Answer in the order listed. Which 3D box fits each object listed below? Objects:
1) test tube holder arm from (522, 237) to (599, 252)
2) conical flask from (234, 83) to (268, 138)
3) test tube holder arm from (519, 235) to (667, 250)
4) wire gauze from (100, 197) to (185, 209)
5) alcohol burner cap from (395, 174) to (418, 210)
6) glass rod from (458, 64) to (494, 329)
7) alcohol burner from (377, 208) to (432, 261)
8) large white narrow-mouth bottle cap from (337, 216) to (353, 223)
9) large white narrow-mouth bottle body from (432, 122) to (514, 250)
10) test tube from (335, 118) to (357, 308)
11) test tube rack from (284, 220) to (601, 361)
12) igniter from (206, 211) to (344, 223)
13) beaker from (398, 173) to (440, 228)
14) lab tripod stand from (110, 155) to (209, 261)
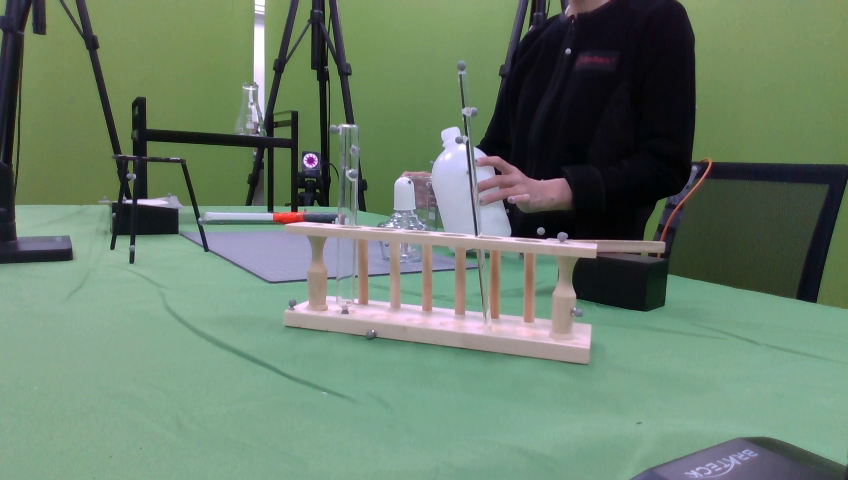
[{"bbox_3d":[0.144,0.004,0.635,0.088,0.015,0.010,0,14,-19],"label":"test tube holder arm"},{"bbox_3d":[-0.400,-0.298,1.396,0.075,0.122,0.075,2,8,0],"label":"conical flask"},{"bbox_3d":[0.186,0.003,0.655,0.179,0.015,0.013,0,14,-18],"label":"test tube holder arm"},{"bbox_3d":[-0.469,-0.062,1.008,0.126,0.011,0.121,-2,8,-25],"label":"wire gauze"},{"bbox_3d":[-0.026,-0.067,0.833,0.034,0.048,0.034,-1,12,1],"label":"alcohol burner cap"},{"bbox_3d":[0.040,-0.029,0.450,0.008,0.199,0.008,-7,9,1],"label":"glass rod"},{"bbox_3d":[-0.027,-0.031,0.838,0.078,0.119,0.078,0,6,0],"label":"alcohol burner"},{"bbox_3d":[-0.161,-0.036,1.231,0.038,0.024,0.037,2,8,0],"label":"large white narrow-mouth bottle cap"},{"bbox_3d":[0.067,-0.086,0.937,0.102,0.194,0.102,-16,-3,-1],"label":"large white narrow-mouth bottle body"},{"bbox_3d":[-0.061,-0.019,0.476,0.017,0.150,0.017,2,11,0],"label":"test tube"},{"bbox_3d":[0.013,0.032,0.482,0.242,0.085,0.067,4,7,16],"label":"test tube rack"},{"bbox_3d":[-0.302,-0.048,1.249,0.278,0.025,0.057,-2,-2,-27],"label":"igniter"},{"bbox_3d":[-0.004,-0.067,1.065,0.083,0.100,0.074,7,10,35],"label":"beaker"},{"bbox_3d":[-0.361,-0.046,0.806,0.148,0.131,0.148,2,5,0],"label":"lab tripod stand"}]
